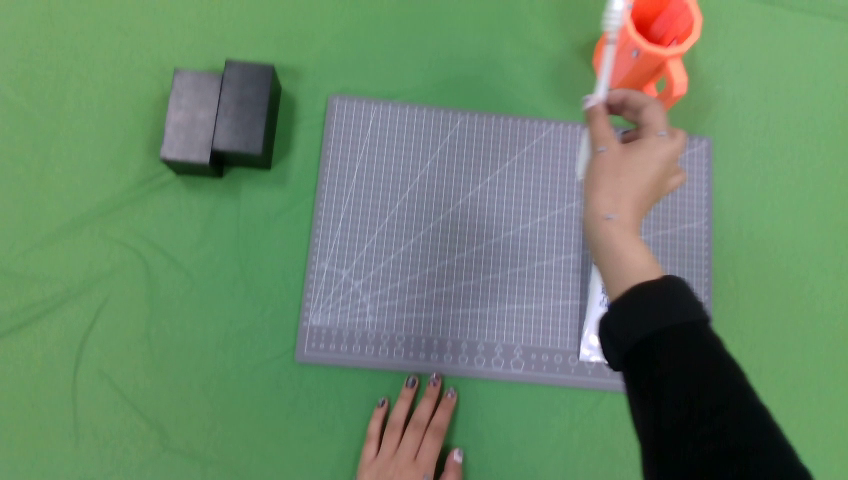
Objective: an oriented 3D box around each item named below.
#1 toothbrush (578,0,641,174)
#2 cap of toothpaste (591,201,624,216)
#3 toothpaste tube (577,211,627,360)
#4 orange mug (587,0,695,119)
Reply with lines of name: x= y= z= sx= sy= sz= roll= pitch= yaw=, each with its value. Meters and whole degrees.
toothbrush: x=0.156 y=-0.123 z=0.523 sx=0.014 sy=0.183 sz=0.016 roll=15 pitch=53 yaw=12
cap of toothpaste: x=0.205 y=-0.034 z=0.674 sx=0.037 sy=0.037 sz=0.011 roll=-7 pitch=76 yaw=-6
toothpaste tube: x=0.197 y=0.047 z=0.664 sx=0.055 sy=0.034 sz=0.164 roll=3 pitch=82 yaw=4
orange mug: x=0.248 y=-0.205 z=0.683 sx=0.083 sy=0.101 sz=0.125 roll=-16 pitch=76 yaw=-7
